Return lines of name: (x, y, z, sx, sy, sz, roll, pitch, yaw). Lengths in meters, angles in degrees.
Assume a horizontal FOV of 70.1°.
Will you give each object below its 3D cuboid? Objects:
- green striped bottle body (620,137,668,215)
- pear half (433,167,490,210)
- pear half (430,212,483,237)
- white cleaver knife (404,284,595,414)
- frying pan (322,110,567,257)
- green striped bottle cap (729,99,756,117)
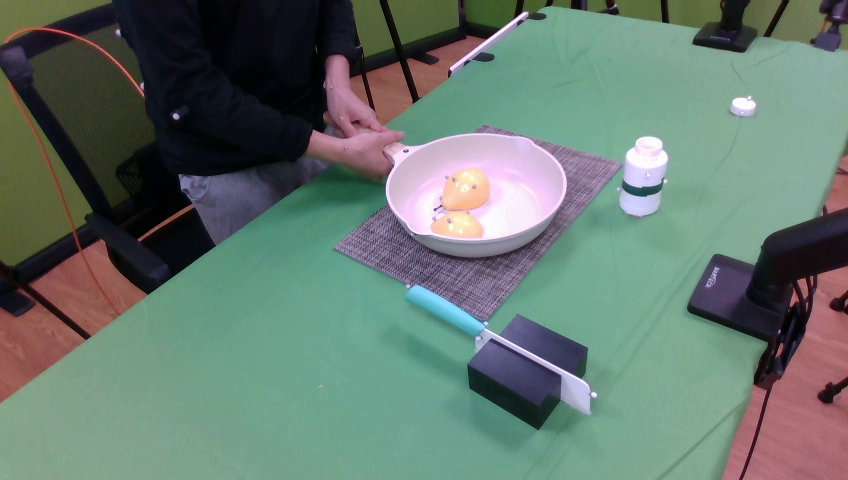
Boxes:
green striped bottle body: (0.350, -0.103, 0.963, 0.063, 0.120, 0.063, -4, 41, 4)
pear half: (0.058, -0.086, 1.022, 0.110, 0.056, 0.075, -33, 43, -24)
pear half: (0.051, -0.026, 0.972, 0.087, 0.031, 0.070, 16, 41, 17)
white cleaver knife: (0.084, 0.135, 0.764, 0.284, 0.066, 0.021, 28, 47, 31)
frying pan: (0.005, -0.125, 1.036, 0.484, 0.103, 0.308, 32, 53, 24)
green striped bottle cap: (0.623, -0.259, 1.182, 0.044, 0.020, 0.044, -3, 41, 3)
